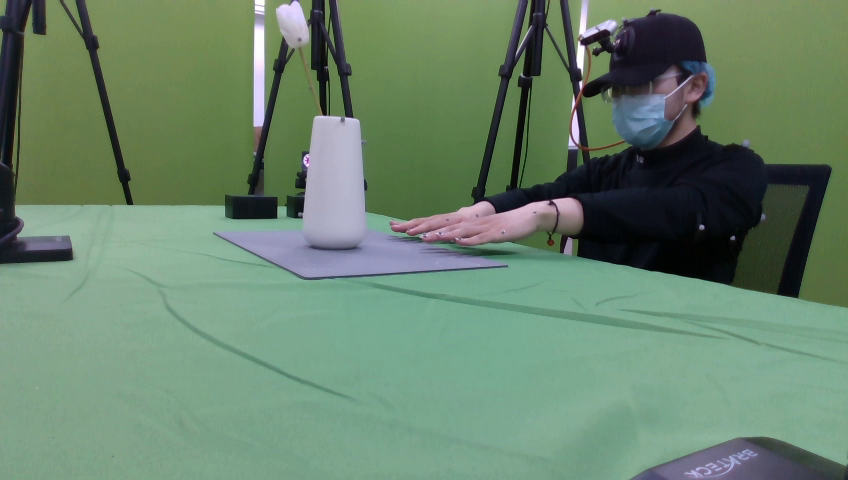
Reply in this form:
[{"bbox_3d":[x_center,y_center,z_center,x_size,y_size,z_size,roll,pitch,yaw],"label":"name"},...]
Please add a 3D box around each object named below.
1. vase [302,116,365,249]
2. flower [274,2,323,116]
[{"bbox_3d":[-0.139,-0.088,0.930,0.098,0.200,0.098,1,9,0],"label":"vase"},{"bbox_3d":[-0.151,-0.168,0.913,0.038,0.362,0.044,-7,19,28],"label":"flower"}]
